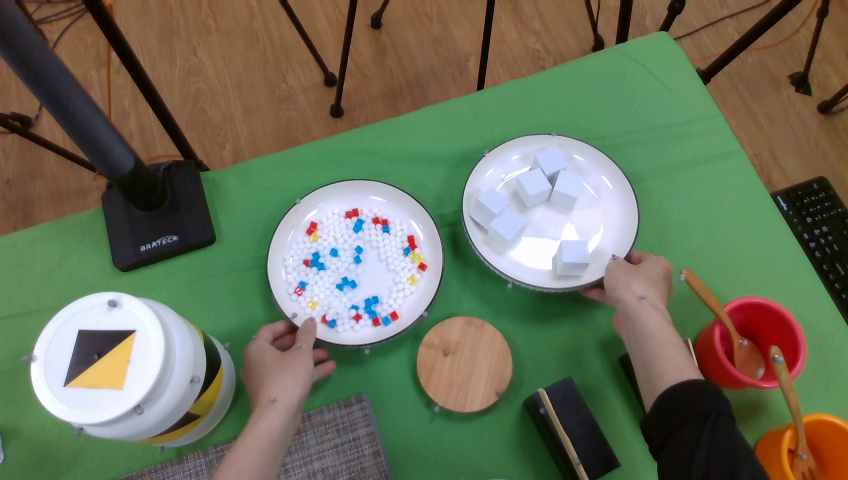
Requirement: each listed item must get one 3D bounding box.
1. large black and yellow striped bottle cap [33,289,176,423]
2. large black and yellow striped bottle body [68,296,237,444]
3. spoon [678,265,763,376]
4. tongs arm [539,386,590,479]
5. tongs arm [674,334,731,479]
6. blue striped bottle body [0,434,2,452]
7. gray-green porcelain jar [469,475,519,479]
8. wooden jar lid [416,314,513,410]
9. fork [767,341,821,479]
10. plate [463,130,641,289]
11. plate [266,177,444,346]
[{"bbox_3d":[-0.276,0.099,0.524,0.115,0.019,0.114,0,71,0],"label":"large black and yellow striped bottle cap"},{"bbox_3d":[-0.276,0.131,0.602,0.131,0.185,0.130,0,69,0],"label":"large black and yellow striped bottle body"},{"bbox_3d":[0.316,0.085,0.641,0.195,0.021,0.041,46,69,-31],"label":"spoon"},{"bbox_3d":[0.217,0.311,0.583,0.051,0.026,0.383,-23,81,-10],"label":"tongs arm"},{"bbox_3d":[0.297,0.285,0.594,0.028,0.028,0.386,-8,80,-11],"label":"tongs arm"},{"bbox_3d":[-0.492,0.208,0.607,0.063,0.121,0.062,0,69,0],"label":"blue striped bottle body"},{"bbox_3d":[0.067,0.280,0.577,0.106,0.127,0.105,0,69,0],"label":"gray-green porcelain jar"},{"bbox_3d":[0.045,0.138,0.687,0.108,0.021,0.107,0,71,0],"label":"wooden jar lid"},{"bbox_3d":[0.368,0.179,0.603,0.028,0.018,0.209,-29,116,-1],"label":"fork"},{"bbox_3d":[0.150,-0.036,0.724,0.208,0.039,0.206,0,66,1],"label":"plate"},{"bbox_3d":[-0.080,0.024,0.720,0.209,0.038,0.207,0,70,1],"label":"plate"}]
